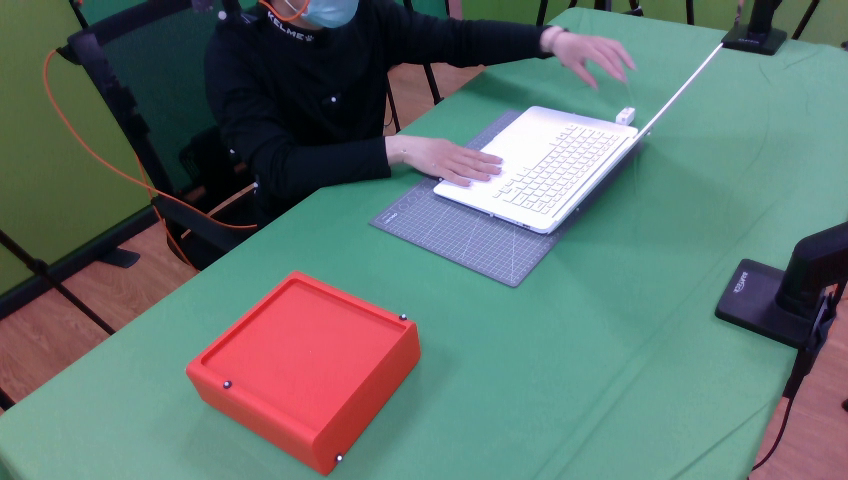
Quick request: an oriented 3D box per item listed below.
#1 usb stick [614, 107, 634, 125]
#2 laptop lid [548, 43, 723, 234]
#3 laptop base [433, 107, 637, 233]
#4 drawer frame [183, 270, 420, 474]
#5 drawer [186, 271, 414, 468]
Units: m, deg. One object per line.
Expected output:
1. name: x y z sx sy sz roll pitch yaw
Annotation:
1. usb stick: 0.386 -0.234 1.174 0.021 0.027 0.059 22 47 30
2. laptop lid: 0.335 -0.160 0.955 0.013 0.241 0.358 42 54 8
3. laptop base: 0.211 -0.142 1.111 0.233 0.023 0.355 21 48 34
4. drawer frame: -0.148 0.153 0.767 0.212 0.083 0.202 20 46 27
5. drawer: -0.150 0.153 0.768 0.210 0.073 0.195 20 46 28
